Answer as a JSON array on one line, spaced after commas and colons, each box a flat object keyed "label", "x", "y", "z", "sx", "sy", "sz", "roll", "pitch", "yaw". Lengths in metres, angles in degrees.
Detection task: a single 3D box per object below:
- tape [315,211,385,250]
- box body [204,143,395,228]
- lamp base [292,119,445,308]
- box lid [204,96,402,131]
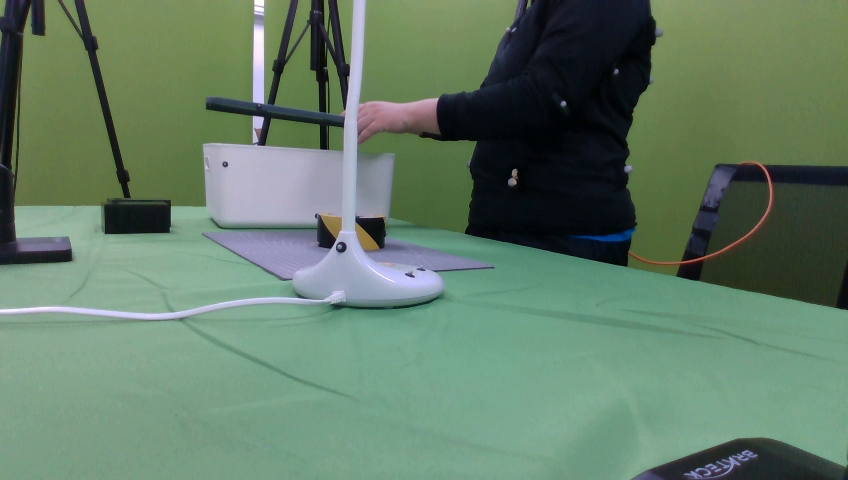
[{"label": "tape", "x": -0.119, "y": -0.017, "z": 0.973, "sx": 0.117, "sy": 0.052, "sz": 0.117, "roll": 2, "pitch": 6, "yaw": 0}, {"label": "box body", "x": -0.271, "y": -0.117, "z": 1.291, "sx": 0.366, "sy": 0.160, "sz": 0.253, "roll": -1, "pitch": 8, "yaw": -25}, {"label": "lamp base", "x": -0.056, "y": -0.030, "z": 0.616, "sx": 0.160, "sy": 0.180, "sz": 0.179, "roll": 4, "pitch": 10, "yaw": 8}, {"label": "box lid", "x": -0.252, "y": -0.252, "z": 1.235, "sx": 0.373, "sy": 0.015, "sz": 0.262, "roll": 4, "pitch": 7, "yaw": -21}]
